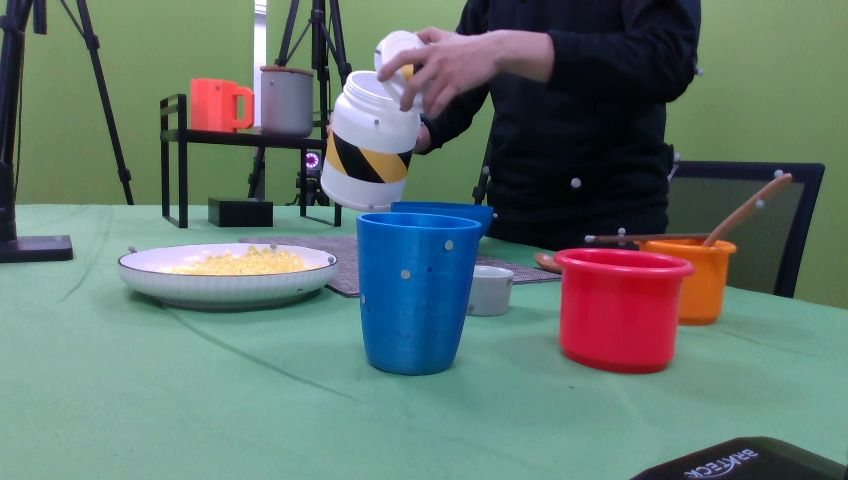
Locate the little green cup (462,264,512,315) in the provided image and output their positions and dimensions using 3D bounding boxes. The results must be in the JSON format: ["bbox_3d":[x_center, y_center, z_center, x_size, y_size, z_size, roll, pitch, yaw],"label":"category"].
[{"bbox_3d":[0.053,0.047,0.579,0.061,0.038,0.061,3,8,0],"label":"little green cup"}]

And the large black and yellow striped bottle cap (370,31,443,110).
[{"bbox_3d":[-0.022,-0.237,0.843,0.115,0.114,0.018,-4,-16,-39],"label":"large black and yellow striped bottle cap"}]

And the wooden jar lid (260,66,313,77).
[{"bbox_3d":[-0.283,-0.340,1.245,0.108,0.020,0.108,5,9,-1],"label":"wooden jar lid"}]

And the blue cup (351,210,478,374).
[{"bbox_3d":[-0.009,0.034,0.414,0.093,0.100,0.092,4,8,0],"label":"blue cup"}]

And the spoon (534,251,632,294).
[{"bbox_3d":[0.193,0.038,0.753,0.042,0.021,0.193,14,2,-20],"label":"spoon"}]

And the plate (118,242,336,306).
[{"bbox_3d":[-0.194,0.033,0.615,0.209,0.038,0.209,2,7,0],"label":"plate"}]

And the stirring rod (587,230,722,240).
[{"bbox_3d":[0.227,-0.005,0.585,0.177,0.006,0.014,-1,7,-28],"label":"stirring rod"}]

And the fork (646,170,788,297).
[{"bbox_3d":[0.256,0.004,0.543,0.028,0.018,0.207,3,-37,-10],"label":"fork"}]

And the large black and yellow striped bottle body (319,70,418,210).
[{"bbox_3d":[-0.083,-0.152,0.923,0.131,0.184,0.130,12,31,-7],"label":"large black and yellow striped bottle body"}]

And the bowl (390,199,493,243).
[{"bbox_3d":[0.023,-0.016,0.874,0.151,0.077,0.151,3,7,0],"label":"bowl"}]

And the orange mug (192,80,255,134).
[{"bbox_3d":[-0.389,-0.257,1.173,0.126,0.100,0.083,-1,7,9],"label":"orange mug"}]

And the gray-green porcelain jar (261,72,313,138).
[{"bbox_3d":[-0.284,-0.276,1.253,0.106,0.126,0.106,2,8,0],"label":"gray-green porcelain jar"}]
